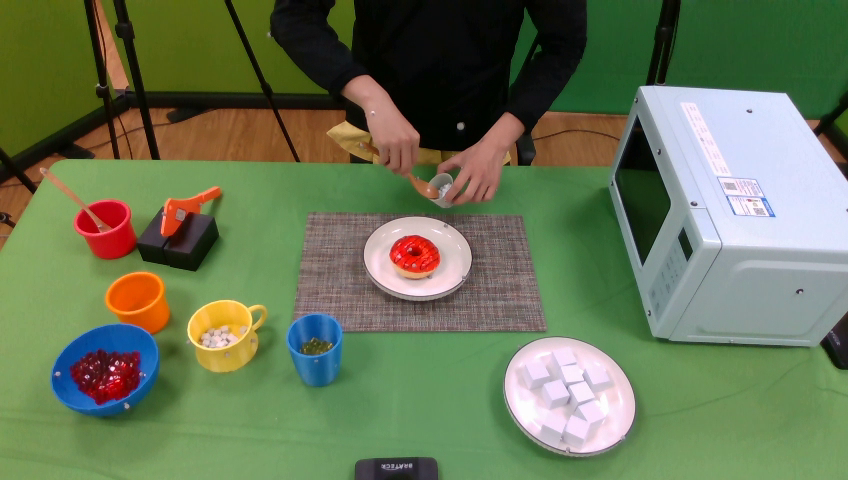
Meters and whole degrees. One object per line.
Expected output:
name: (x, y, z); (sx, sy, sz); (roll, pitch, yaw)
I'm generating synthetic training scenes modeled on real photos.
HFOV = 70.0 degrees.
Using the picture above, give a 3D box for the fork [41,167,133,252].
fork: (-0.624, -0.056, 1.121); (0.208, 0.018, 0.028); (49, 51, -15)

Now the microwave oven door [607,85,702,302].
microwave oven door: (0.423, -0.094, 1.141); (0.039, 0.245, 0.353); (2, 46, -1)

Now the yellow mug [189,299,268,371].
yellow mug: (-0.316, 0.148, 1.002); (0.131, 0.064, 0.099); (-32, 56, -31)

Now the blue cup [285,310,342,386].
blue cup: (-0.170, 0.179, 0.958); (0.093, 0.101, 0.092); (2, 44, -1)

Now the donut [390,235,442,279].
donut: (-0.016, 0.032, 1.135); (0.099, 0.048, 0.098); (3, 44, -3)

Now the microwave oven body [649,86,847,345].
microwave oven body: (0.568, -0.053, 1.118); (0.326, 0.261, 0.439); (2, 45, -1)

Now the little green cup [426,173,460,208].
little green cup: (0.038, -0.093, 1.159); (0.061, 0.039, 0.061); (-18, 56, 28)

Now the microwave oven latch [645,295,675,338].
microwave oven latch: (0.412, 0.134, 1.061); (0.030, 0.029, 0.078); (3, 45, 0)

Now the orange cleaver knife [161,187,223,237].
orange cleaver knife: (-0.448, -0.058, 1.181); (0.012, 0.077, 0.211); (13, 17, 6)

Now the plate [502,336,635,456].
plate: (0.225, 0.248, 0.963); (0.208, 0.039, 0.206); (2, 46, -2)

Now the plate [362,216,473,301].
plate: (-0.012, 0.038, 1.145); (0.209, 0.038, 0.208); (2, 46, -2)

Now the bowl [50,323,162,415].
bowl: (-0.472, 0.209, 0.924); (0.151, 0.077, 0.150); (2, 45, -2)

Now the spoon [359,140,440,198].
spoon: (-0.042, -0.131, 1.106); (0.021, 0.195, 0.041); (-33, 41, 28)
